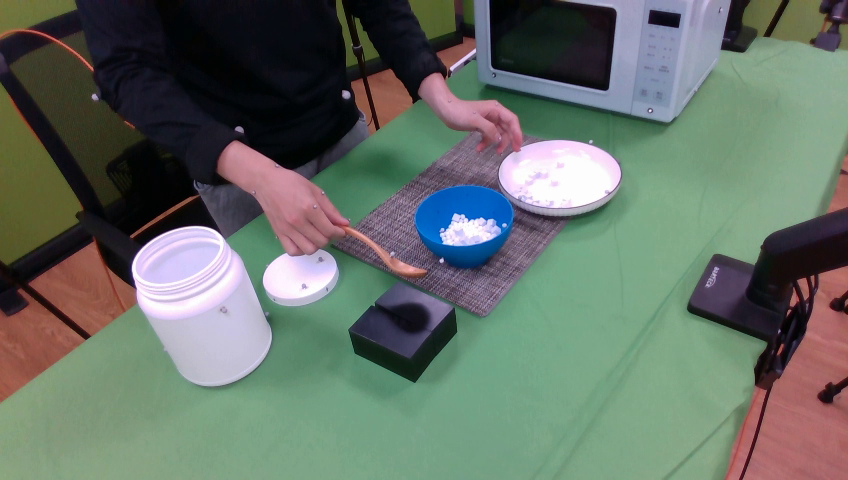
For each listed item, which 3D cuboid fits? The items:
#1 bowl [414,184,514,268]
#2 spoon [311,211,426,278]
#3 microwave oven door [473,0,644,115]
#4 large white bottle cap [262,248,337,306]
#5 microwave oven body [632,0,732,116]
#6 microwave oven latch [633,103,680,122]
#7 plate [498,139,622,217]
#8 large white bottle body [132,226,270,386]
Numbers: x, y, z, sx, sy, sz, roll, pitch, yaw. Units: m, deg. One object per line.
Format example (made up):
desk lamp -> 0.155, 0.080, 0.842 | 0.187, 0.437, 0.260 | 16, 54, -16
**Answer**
bowl -> 0.063, -0.010, 0.922 | 0.151, 0.077, 0.150 | -4, 40, 4
spoon -> -0.079, 0.003, 0.819 | 0.192, 0.021, 0.042 | 33, 23, 21
microwave oven door -> 0.257, -0.396, 1.199 | 0.353, 0.245, 0.039 | 21, 48, 29
large white bottle cap -> -0.192, 0.056, 0.934 | 0.115, 0.018, 0.114 | -4, 41, 4
microwave oven body -> 0.377, -0.463, 1.267 | 0.438, 0.261, 0.327 | 21, 49, 30
microwave oven latch -> 0.443, -0.249, 1.157 | 0.078, 0.029, 0.030 | 21, 49, 30
plate -> 0.230, -0.103, 1.038 | 0.209, 0.038, 0.208 | -4, 41, 4
large white bottle body -> -0.286, 0.085, 0.784 | 0.130, 0.185, 0.130 | -4, 40, 4
